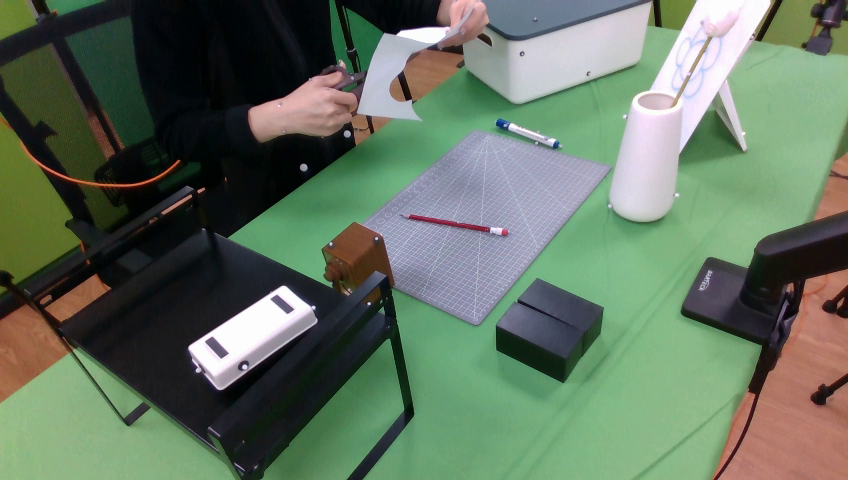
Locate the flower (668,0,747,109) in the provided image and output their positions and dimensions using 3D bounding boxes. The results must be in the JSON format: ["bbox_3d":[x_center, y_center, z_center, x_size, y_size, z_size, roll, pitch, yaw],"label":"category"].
[{"bbox_3d":[0.354,-0.187,0.879,0.038,0.362,0.044,30,48,14],"label":"flower"}]

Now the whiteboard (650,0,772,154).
[{"bbox_3d":[0.543,-0.298,1.076,0.144,0.305,0.216,12,40,-7],"label":"whiteboard"}]

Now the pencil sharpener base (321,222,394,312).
[{"bbox_3d":[-0.096,0.041,0.873,0.061,0.107,0.077,26,54,32],"label":"pencil sharpener base"}]

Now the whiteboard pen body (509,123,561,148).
[{"bbox_3d":[0.209,-0.211,1.195,0.139,0.017,0.017,30,52,33],"label":"whiteboard pen body"}]

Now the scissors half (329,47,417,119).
[{"bbox_3d":[-0.077,-0.234,0.904,0.174,0.040,0.013,-34,11,29],"label":"scissors half"}]

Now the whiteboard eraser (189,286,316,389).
[{"bbox_3d":[-0.166,0.096,0.593,0.113,0.042,0.055,-36,47,-29],"label":"whiteboard eraser"}]

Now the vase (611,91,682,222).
[{"bbox_3d":[0.348,-0.125,0.935,0.098,0.201,0.097,-3,40,3],"label":"vase"}]

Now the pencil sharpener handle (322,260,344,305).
[{"bbox_3d":[-0.131,0.061,0.839,0.035,0.068,0.031,29,56,27],"label":"pencil sharpener handle"}]

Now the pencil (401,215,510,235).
[{"bbox_3d":[0.049,-0.027,1.006,0.193,0.012,0.012,10,43,21],"label":"pencil"}]

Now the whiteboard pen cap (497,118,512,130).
[{"bbox_3d":[0.165,-0.235,1.227,0.033,0.018,0.018,31,53,31],"label":"whiteboard pen cap"}]

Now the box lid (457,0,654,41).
[{"bbox_3d":[0.285,-0.522,1.323,0.373,0.015,0.261,-22,43,-16],"label":"box lid"}]

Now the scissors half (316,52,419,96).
[{"bbox_3d":[-0.087,-0.252,0.898,0.174,0.040,0.013,-10,26,21],"label":"scissors half"}]

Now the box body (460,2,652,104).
[{"bbox_3d":[0.291,-0.465,1.371,0.365,0.161,0.252,-22,42,-16],"label":"box body"}]
